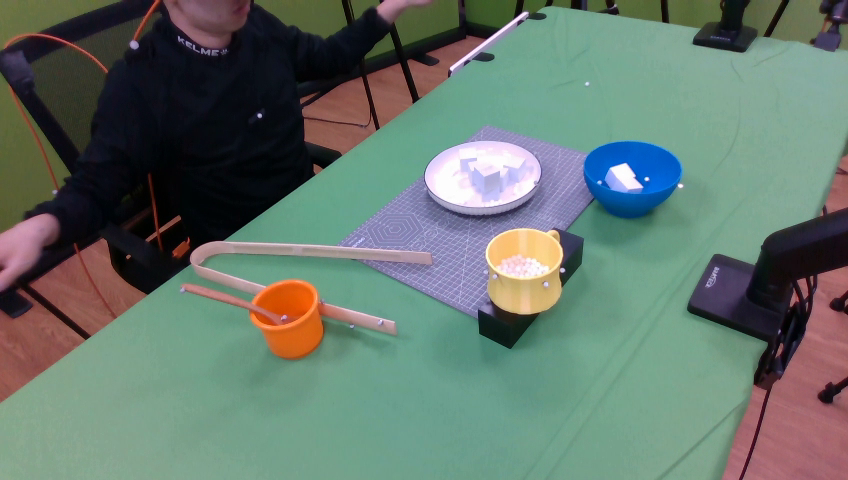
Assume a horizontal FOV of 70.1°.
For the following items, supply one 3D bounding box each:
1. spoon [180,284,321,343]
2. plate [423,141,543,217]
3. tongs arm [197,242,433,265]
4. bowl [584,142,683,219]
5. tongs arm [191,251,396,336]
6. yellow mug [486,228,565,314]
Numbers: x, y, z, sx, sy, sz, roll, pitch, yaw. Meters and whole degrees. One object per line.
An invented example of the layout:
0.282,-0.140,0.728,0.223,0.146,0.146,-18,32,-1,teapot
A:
-0.223,0.093,0.794,0.021,0.195,0.041,-43,33,28,spoon
0.103,-0.103,1.059,0.207,0.039,0.206,-4,40,4,plate
-0.177,0.024,0.960,0.386,0.028,0.028,2,45,12,tongs arm
0.333,-0.087,0.980,0.151,0.077,0.150,-4,40,3,bowl
-0.204,0.074,0.902,0.382,0.026,0.051,11,44,22,tongs arm
0.142,0.031,0.801,0.099,0.064,0.131,28,51,34,yellow mug
